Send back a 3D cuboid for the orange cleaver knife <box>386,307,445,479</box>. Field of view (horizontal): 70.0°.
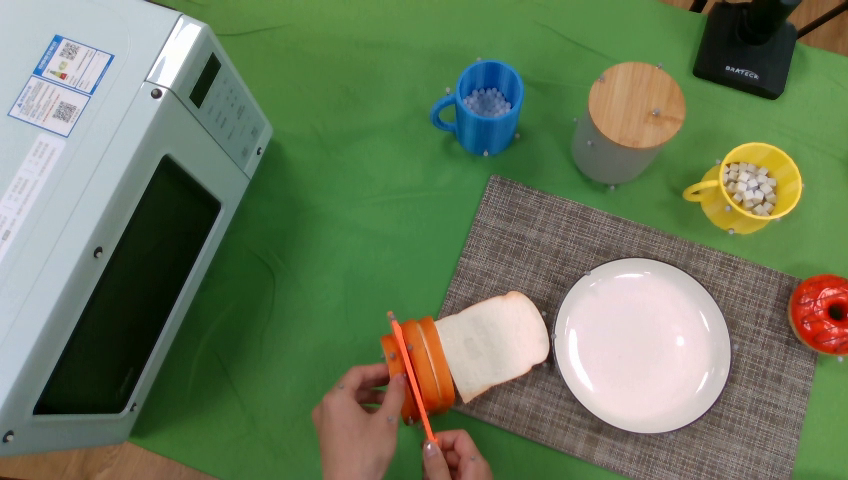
[{"bbox_3d":[-0.007,0.172,0.638,0.012,0.077,0.211,-16,88,-7],"label":"orange cleaver knife"}]

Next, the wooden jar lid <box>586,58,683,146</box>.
[{"bbox_3d":[0.238,-0.155,0.691,0.108,0.021,0.108,0,74,1],"label":"wooden jar lid"}]

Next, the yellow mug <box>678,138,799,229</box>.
[{"bbox_3d":[0.388,-0.069,0.761,0.131,0.064,0.099,-3,76,2],"label":"yellow mug"}]

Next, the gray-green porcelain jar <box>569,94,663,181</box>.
[{"bbox_3d":[0.240,-0.139,0.752,0.106,0.127,0.105,0,75,2],"label":"gray-green porcelain jar"}]

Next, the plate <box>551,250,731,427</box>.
[{"bbox_3d":[0.255,0.117,0.729,0.207,0.039,0.206,0,76,2],"label":"plate"}]

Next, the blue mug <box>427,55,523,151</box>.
[{"bbox_3d":[0.062,-0.171,0.775,0.116,0.106,0.082,-6,75,1],"label":"blue mug"}]

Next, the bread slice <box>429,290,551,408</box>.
[{"bbox_3d":[0.087,0.126,0.733,0.131,0.019,0.104,-29,86,-6],"label":"bread slice"}]

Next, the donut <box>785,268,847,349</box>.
[{"bbox_3d":[0.486,0.082,0.728,0.099,0.048,0.098,0,77,2],"label":"donut"}]

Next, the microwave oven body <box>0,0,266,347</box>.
[{"bbox_3d":[-0.432,-0.047,0.674,0.325,0.261,0.440,20,78,6],"label":"microwave oven body"}]

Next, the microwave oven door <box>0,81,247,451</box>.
[{"bbox_3d":[-0.312,0.040,0.644,0.039,0.245,0.354,20,77,7],"label":"microwave oven door"}]

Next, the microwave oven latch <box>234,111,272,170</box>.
[{"bbox_3d":[-0.227,-0.133,0.789,0.030,0.029,0.079,23,78,7],"label":"microwave oven latch"}]

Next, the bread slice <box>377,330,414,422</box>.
[{"bbox_3d":[-0.033,0.150,0.686,0.018,0.135,0.106,-15,75,-8],"label":"bread slice"}]
